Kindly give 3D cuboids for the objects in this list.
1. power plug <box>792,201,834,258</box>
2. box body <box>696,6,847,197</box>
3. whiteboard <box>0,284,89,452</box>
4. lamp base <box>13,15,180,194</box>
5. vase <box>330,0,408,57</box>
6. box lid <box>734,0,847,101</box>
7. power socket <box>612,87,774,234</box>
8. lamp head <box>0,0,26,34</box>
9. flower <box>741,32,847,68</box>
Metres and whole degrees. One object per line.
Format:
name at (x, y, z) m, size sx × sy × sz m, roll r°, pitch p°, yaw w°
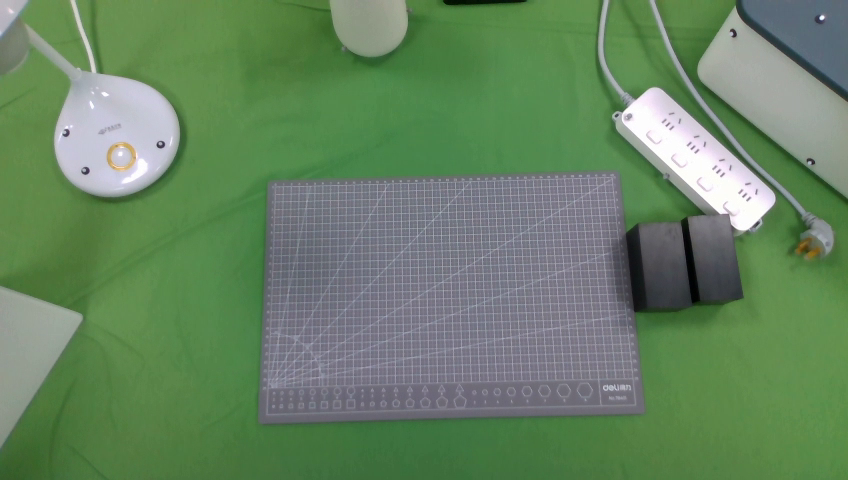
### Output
power plug at (0.468, -0.008, 0.747) m, size 0.052 × 0.035 × 0.072 m, roll -30°, pitch 39°, yaw -4°
box body at (0.549, -0.206, 0.717) m, size 0.362 × 0.161 × 0.254 m, roll 42°, pitch 81°, yaw 10°
whiteboard at (-0.563, 0.102, 0.616) m, size 0.143 × 0.308 × 0.216 m, roll 24°, pitch 77°, yaw 27°
lamp base at (-0.405, -0.164, 0.711) m, size 0.160 × 0.181 × 0.178 m, roll -32°, pitch 75°, yaw -7°
vase at (-0.071, -0.310, 0.732) m, size 0.098 × 0.201 × 0.097 m, roll 0°, pitch 75°, yaw 0°
box lid at (0.549, -0.223, 0.644) m, size 0.370 × 0.015 × 0.263 m, roll 43°, pitch 82°, yaw 10°
power socket at (0.337, -0.101, 0.762) m, size 0.072 × 0.033 × 0.225 m, roll -41°, pitch 79°, yaw -9°
lamp head at (-0.367, -0.192, 0.434) m, size 0.112 × 0.124 × 0.111 m, roll -26°, pitch 42°, yaw 27°
flower at (0.595, -0.217, 0.790) m, size 0.359 × 0.038 × 0.044 m, roll 30°, pitch 69°, yaw 27°
